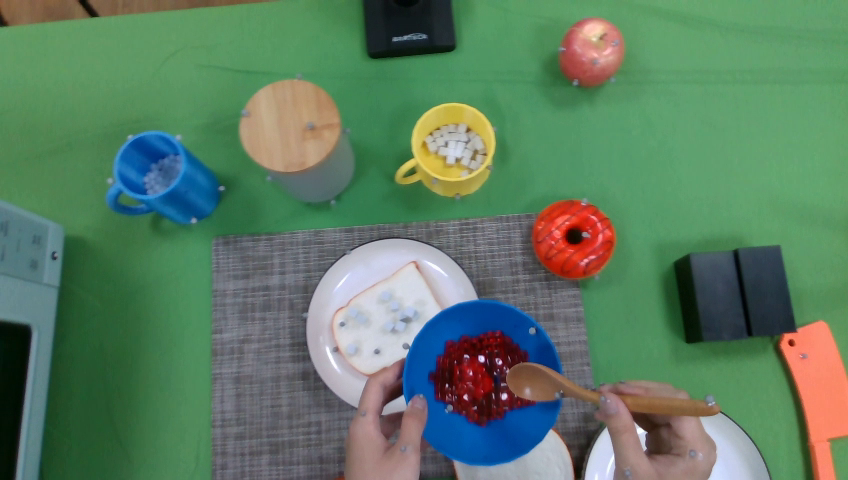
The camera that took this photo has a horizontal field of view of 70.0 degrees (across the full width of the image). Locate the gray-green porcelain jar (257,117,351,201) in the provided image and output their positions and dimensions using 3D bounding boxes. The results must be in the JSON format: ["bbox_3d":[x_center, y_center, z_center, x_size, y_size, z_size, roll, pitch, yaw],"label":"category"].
[{"bbox_3d":[-0.144,-0.109,0.720,0.106,0.127,0.105,0,77,2],"label":"gray-green porcelain jar"}]

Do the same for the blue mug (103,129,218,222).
[{"bbox_3d":[-0.321,-0.066,0.726,0.116,0.106,0.082,-29,78,-4],"label":"blue mug"}]

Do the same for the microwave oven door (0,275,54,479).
[{"bbox_3d":[-0.465,0.202,0.583,0.039,0.245,0.354,-2,77,2],"label":"microwave oven door"}]

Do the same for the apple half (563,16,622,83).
[{"bbox_3d":[0.217,-0.244,0.766,0.053,0.075,0.080,-36,75,-12],"label":"apple half"}]

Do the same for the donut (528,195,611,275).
[{"bbox_3d":[0.173,-0.006,0.726,0.099,0.048,0.098,0,79,1],"label":"donut"}]

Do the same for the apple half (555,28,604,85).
[{"bbox_3d":[0.187,-0.220,0.760,0.033,0.081,0.081,-37,78,-11],"label":"apple half"}]

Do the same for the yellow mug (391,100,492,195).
[{"bbox_3d":[0.018,-0.105,0.745,0.131,0.064,0.099,-28,78,-4],"label":"yellow mug"}]

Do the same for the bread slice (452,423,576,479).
[{"bbox_3d":[0.101,0.255,0.652,0.135,0.018,0.106,-8,73,-21],"label":"bread slice"}]

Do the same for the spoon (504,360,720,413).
[{"bbox_3d":[0.136,0.119,0.475,0.021,0.192,0.042,-33,105,-32],"label":"spoon"}]

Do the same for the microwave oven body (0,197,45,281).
[{"bbox_3d":[-0.611,0.164,0.601,0.326,0.261,0.439,-1,78,1],"label":"microwave oven body"}]

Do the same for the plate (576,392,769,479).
[{"bbox_3d":[0.270,0.274,0.670,0.209,0.038,0.208,0,78,2],"label":"plate"}]

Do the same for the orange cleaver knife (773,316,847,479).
[{"bbox_3d":[0.452,0.193,0.692,0.077,0.012,0.210,-2,76,-5],"label":"orange cleaver knife"}]

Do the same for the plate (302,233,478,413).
[{"bbox_3d":[-0.037,0.096,0.714,0.207,0.039,0.206,0,78,2],"label":"plate"}]

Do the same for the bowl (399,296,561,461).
[{"bbox_3d":[0.051,0.133,0.594,0.151,0.077,0.150,1,79,-2],"label":"bowl"}]

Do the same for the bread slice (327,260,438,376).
[{"bbox_3d":[-0.046,0.098,0.715,0.131,0.019,0.104,-30,79,-6],"label":"bread slice"}]

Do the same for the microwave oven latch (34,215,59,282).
[{"bbox_3d":[-0.462,0.011,0.729,0.030,0.029,0.079,1,78,1],"label":"microwave oven latch"}]

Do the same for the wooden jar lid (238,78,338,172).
[{"bbox_3d":[-0.147,-0.123,0.659,0.108,0.021,0.108,-1,76,2],"label":"wooden jar lid"}]
